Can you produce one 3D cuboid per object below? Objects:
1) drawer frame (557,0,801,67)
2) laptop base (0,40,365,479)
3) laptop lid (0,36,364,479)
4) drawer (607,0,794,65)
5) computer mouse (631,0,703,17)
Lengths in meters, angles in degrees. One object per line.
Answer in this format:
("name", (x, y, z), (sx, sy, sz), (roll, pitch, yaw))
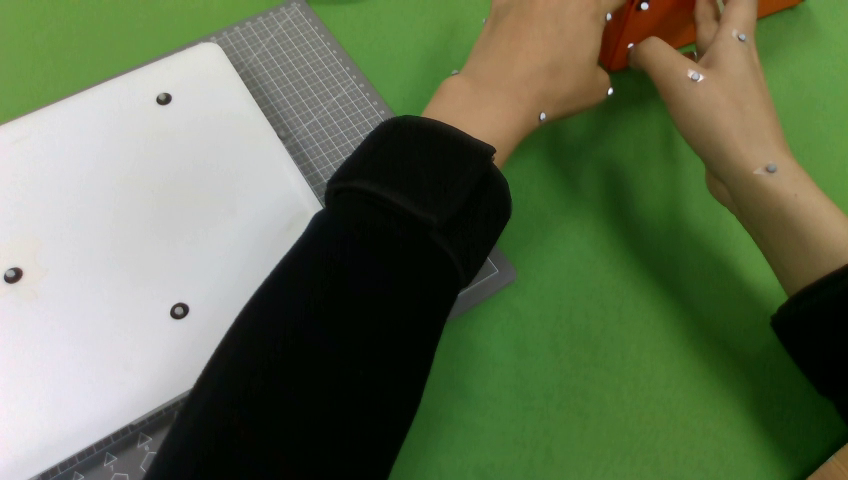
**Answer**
("drawer frame", (0.183, -0.263, 0.484), (0.202, 0.083, 0.211), (-23, 65, -11))
("laptop base", (-0.243, 0.022, 0.372), (0.354, 0.023, 0.234), (-29, 70, -14))
("laptop lid", (-0.242, 0.019, 0.361), (0.357, 0.013, 0.239), (-27, 69, -13))
("drawer", (0.184, -0.259, 0.485), (0.195, 0.074, 0.210), (-22, 64, -10))
("computer mouse", (0.179, -0.231, 0.484), (0.063, 0.041, 0.116), (-21, 64, -13))
